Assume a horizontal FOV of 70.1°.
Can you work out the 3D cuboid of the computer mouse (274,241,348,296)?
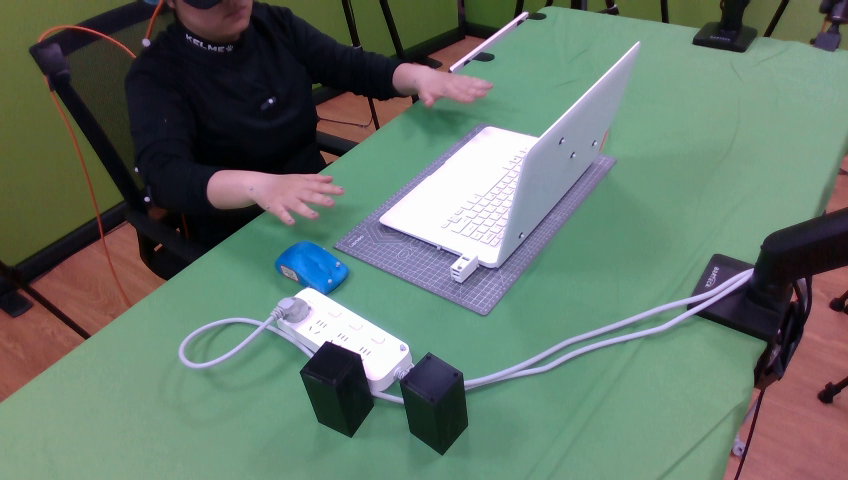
[{"bbox_3d":[-0.176,0.040,0.936,0.116,0.041,0.063,27,48,27],"label":"computer mouse"}]

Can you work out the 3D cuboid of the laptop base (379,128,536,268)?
[{"bbox_3d":[0.118,-0.088,1.058,0.233,0.023,0.355,19,47,32],"label":"laptop base"}]

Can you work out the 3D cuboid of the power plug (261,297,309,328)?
[{"bbox_3d":[-0.192,0.107,0.831,0.073,0.053,0.035,-32,43,-25],"label":"power plug"}]

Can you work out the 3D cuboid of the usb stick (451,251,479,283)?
[{"bbox_3d":[0.065,0.036,0.900,0.021,0.027,0.059,24,46,31],"label":"usb stick"}]

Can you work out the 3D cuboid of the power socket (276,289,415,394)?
[{"bbox_3d":[-0.114,0.133,0.821,0.225,0.033,0.072,25,49,33],"label":"power socket"}]

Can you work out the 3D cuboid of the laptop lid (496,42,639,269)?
[{"bbox_3d":[0.220,-0.130,0.913,0.013,0.242,0.357,31,51,21],"label":"laptop lid"}]
